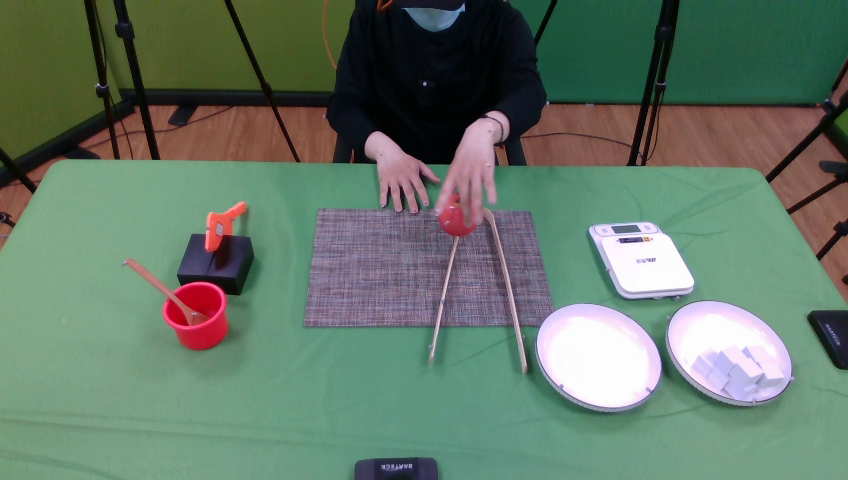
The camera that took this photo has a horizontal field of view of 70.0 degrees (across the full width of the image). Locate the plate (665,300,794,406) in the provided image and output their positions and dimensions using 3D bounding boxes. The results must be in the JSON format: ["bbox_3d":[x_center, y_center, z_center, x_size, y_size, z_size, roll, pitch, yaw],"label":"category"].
[{"bbox_3d":[0.513,0.194,1.034,0.208,0.039,0.206,2,46,-2],"label":"plate"}]

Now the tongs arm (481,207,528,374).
[{"bbox_3d":[0.149,0.077,1.123,0.028,0.028,0.385,-5,46,-2],"label":"tongs arm"}]

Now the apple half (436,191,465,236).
[{"bbox_3d":[0.049,-0.050,1.135,0.053,0.075,0.080,6,48,5],"label":"apple half"}]

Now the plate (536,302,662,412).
[{"bbox_3d":[0.288,0.197,1.016,0.209,0.038,0.208,2,46,-2],"label":"plate"}]

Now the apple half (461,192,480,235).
[{"bbox_3d":[0.087,-0.046,1.133,0.033,0.082,0.081,6,46,5],"label":"apple half"}]

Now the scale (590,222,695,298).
[{"bbox_3d":[0.424,0.031,1.189,0.149,0.032,0.199,-3,46,-7],"label":"scale"}]

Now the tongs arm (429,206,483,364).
[{"bbox_3d":[0.064,0.069,1.123,0.051,0.026,0.382,8,45,5],"label":"tongs arm"}]

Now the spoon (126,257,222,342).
[{"bbox_3d":[-0.408,0.096,0.990,0.194,0.021,0.041,50,53,-18],"label":"spoon"}]

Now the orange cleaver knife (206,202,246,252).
[{"bbox_3d":[-0.374,-0.029,1.150,0.012,0.077,0.211,4,13,0],"label":"orange cleaver knife"}]
